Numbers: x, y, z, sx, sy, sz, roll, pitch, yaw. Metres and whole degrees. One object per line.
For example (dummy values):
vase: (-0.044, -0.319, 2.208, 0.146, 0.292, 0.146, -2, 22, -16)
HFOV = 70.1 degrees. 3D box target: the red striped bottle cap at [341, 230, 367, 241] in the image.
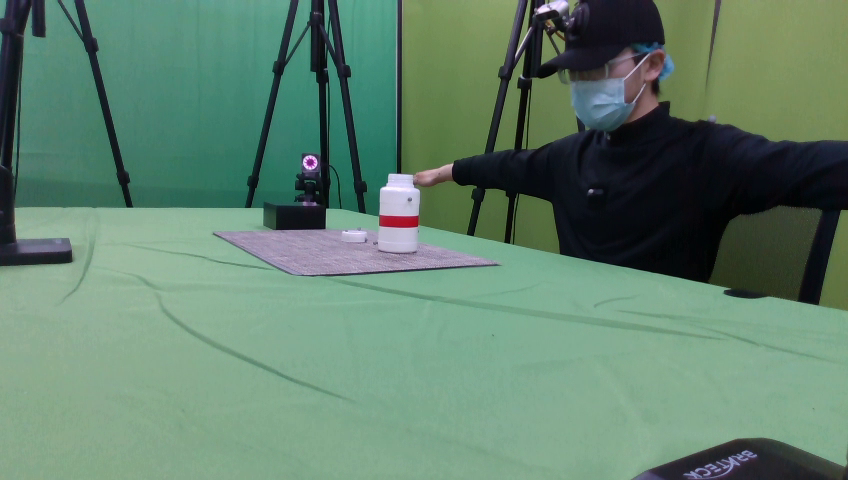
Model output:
red striped bottle cap: (-0.120, -0.008, 1.034, 0.044, 0.017, 0.044, -2, 2, 0)

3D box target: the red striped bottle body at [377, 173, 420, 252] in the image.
red striped bottle body: (-0.039, -0.044, 0.936, 0.063, 0.119, 0.063, 2, 7, 0)
